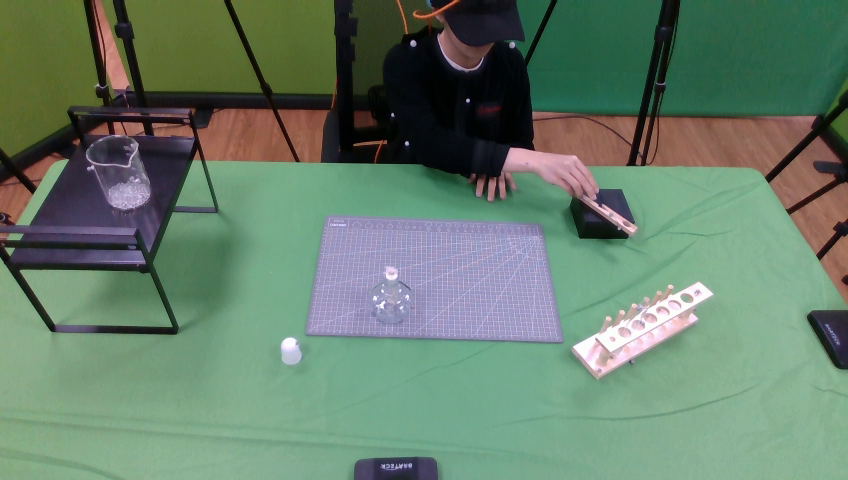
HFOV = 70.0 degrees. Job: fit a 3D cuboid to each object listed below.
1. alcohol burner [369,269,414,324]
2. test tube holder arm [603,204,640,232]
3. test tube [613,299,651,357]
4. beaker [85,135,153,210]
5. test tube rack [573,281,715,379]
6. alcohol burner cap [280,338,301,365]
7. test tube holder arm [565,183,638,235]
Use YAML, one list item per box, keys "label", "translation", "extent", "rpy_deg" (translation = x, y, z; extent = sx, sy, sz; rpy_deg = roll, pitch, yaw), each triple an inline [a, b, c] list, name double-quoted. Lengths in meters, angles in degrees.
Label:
- label: "alcohol burner"
  translation: [-0.056, 0.089, 1.037]
  extent: [0.078, 0.120, 0.077]
  rpy_deg: [1, 47, -1]
- label: "test tube holder arm"
  translation: [0.387, -0.043, 1.195]
  extent: [0.010, 0.015, 0.087]
  rpy_deg: [-35, 56, -23]
- label: "test tube"
  translation: [0.328, 0.143, 0.962]
  extent: [0.017, 0.151, 0.017]
  rpy_deg: [3, 48, -3]
- label: "beaker"
  translation: [-0.475, -0.102, 0.957]
  extent: [0.083, 0.101, 0.074]
  rpy_deg: [34, 53, 26]
- label: "test tube rack"
  translation: [0.378, 0.140, 1.038]
  extent: [0.242, 0.085, 0.066]
  rpy_deg: [-22, 51, -23]
- label: "alcohol burner cap"
  translation: [-0.220, 0.179, 0.993]
  extent: [0.034, 0.048, 0.033]
  rpy_deg: [3, 46, -2]
- label: "test tube holder arm"
  translation: [0.353, -0.065, 1.216]
  extent: [0.013, 0.015, 0.177]
  rpy_deg: [-36, 56, -23]
